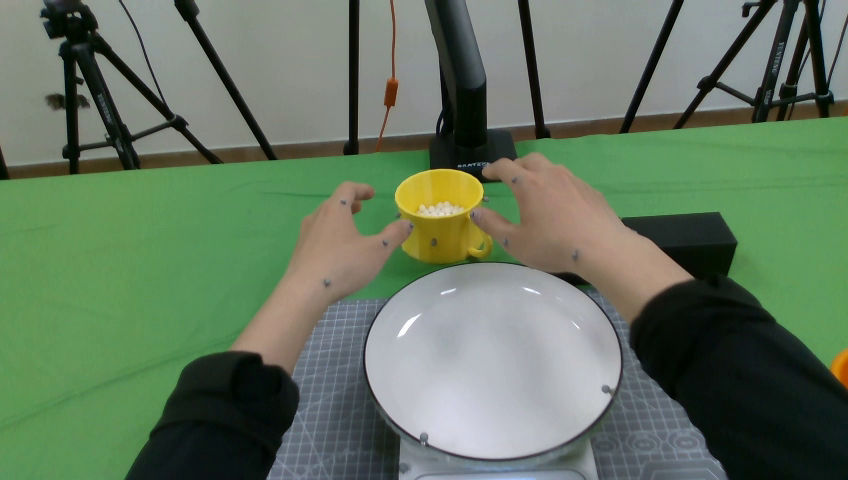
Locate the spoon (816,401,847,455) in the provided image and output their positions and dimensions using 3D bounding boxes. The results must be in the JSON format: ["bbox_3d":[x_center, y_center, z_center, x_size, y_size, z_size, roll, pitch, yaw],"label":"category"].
[{"bbox_3d":[0.371,0.100,0.418,0.022,0.194,0.041,30,35,-28],"label":"spoon"}]

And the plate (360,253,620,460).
[{"bbox_3d":[0.052,0.091,0.501,0.209,0.038,0.207,-2,40,2],"label":"plate"}]

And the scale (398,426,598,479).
[{"bbox_3d":[0.055,0.135,0.500,0.148,0.032,0.199,-3,40,3],"label":"scale"}]

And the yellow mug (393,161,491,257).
[{"bbox_3d":[0.027,-0.031,0.683,0.100,0.064,0.129,-33,47,-29],"label":"yellow mug"}]
